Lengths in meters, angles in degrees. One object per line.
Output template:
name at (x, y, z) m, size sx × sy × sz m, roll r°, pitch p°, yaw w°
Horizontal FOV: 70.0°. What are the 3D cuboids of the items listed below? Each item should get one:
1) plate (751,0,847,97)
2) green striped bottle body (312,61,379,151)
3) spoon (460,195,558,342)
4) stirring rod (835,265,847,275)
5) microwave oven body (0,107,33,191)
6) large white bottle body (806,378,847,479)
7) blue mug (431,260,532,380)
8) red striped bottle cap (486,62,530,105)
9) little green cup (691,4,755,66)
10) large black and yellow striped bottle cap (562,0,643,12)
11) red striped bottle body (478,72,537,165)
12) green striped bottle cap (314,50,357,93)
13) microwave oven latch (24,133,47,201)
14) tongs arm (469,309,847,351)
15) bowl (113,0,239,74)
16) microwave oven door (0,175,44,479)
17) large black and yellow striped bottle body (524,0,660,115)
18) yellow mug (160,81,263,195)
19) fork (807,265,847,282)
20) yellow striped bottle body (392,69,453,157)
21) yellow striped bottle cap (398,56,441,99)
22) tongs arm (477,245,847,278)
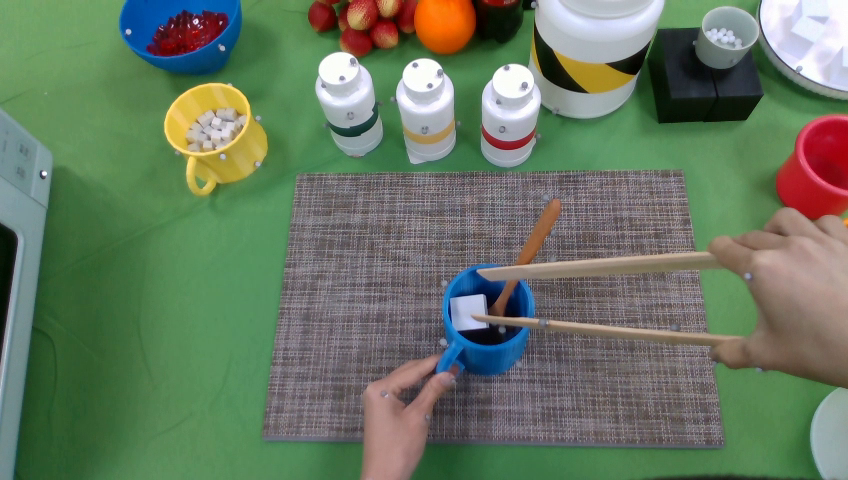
plate at (0.502, -0.256, 0.737) m, size 0.209 × 0.038 × 0.207 m, roll -1°, pitch 67°, yaw 3°
green striped bottle body at (-0.089, -0.158, 0.691) m, size 0.063 × 0.120 × 0.062 m, roll -1°, pitch 66°, yaw 3°
spoon at (0.077, 0.040, 0.551) m, size 0.041 × 0.195 × 0.022 m, roll 39°, pitch 40°, yaw 23°
stirring rod at (0.415, 0.043, 0.562) m, size 0.014 × 0.006 × 0.175 m, roll 3°, pitch 24°, yaw 2°
microwave oven body at (-0.592, 0.061, 0.550) m, size 0.326 × 0.262 × 0.438 m, roll -9°, pitch 67°, yaw 0°
large white bottle body at (0.417, 0.158, 0.486) m, size 0.130 × 0.186 × 0.129 m, roll -1°, pitch 66°, yaw 3°
blue mug at (0.047, 0.088, 0.580) m, size 0.082 × 0.106 × 0.116 m, roll 38°, pitch 74°, yaw 18°
red striped bottle cap at (0.087, -0.161, 0.623) m, size 0.044 × 0.018 × 0.044 m, roll 0°, pitch 65°, yaw 0°
little green cup at (0.333, -0.228, 0.681) m, size 0.061 × 0.039 × 0.061 m, roll 0°, pitch 65°, yaw 1°
large black and yellow striped bottle cap at (0.176, -0.274, 0.595) m, size 0.115 × 0.019 × 0.114 m, roll -2°, pitch 66°, yaw 4°
red striped bottle body at (0.091, -0.140, 0.670) m, size 0.063 × 0.120 × 0.062 m, roll -2°, pitch 65°, yaw 6°
green striped bottle cap at (-0.094, -0.179, 0.643) m, size 0.044 × 0.020 × 0.044 m, roll -1°, pitch 66°, yaw 2°
microwave oven latch at (-0.463, -0.083, 0.708) m, size 0.030 × 0.030 × 0.078 m, roll -7°, pitch 67°, yaw 0°
tongs arm at (0.196, 0.046, 0.409) m, size 0.382 × 0.027 × 0.050 m, roll 1°, pitch 70°, yaw 40°
bowl at (-0.302, -0.268, 0.774) m, size 0.151 × 0.077 × 0.150 m, roll -1°, pitch 67°, yaw 3°
microwave oven door at (-0.442, 0.075, 0.528) m, size 0.039 × 0.245 × 0.353 m, roll -9°, pitch 66°, yaw 1°
large black and yellow striped bottle body at (0.182, -0.242, 0.673) m, size 0.131 × 0.185 × 0.130 m, roll -1°, pitch 67°, yaw 4°
yellow mug at (-0.252, -0.114, 0.711) m, size 0.100 × 0.064 × 0.130 m, roll 9°, pitch 68°, yaw 7°
fork at (0.445, 0.044, 0.552) m, size 0.028 × 0.019 × 0.205 m, roll -36°, pitch 25°, yaw -11°
yellow striped bottle body at (-0.001, -0.150, 0.680) m, size 0.063 × 0.121 × 0.062 m, roll -2°, pitch 66°, yaw 4°
yellow striped bottle cap at (-0.005, -0.170, 0.633) m, size 0.044 × 0.019 × 0.044 m, roll -1°, pitch 68°, yaw 3°
tongs arm at (0.201, 0.022, 0.416) m, size 0.385 × 0.028 × 0.028 m, roll -3°, pitch 63°, yaw 39°
